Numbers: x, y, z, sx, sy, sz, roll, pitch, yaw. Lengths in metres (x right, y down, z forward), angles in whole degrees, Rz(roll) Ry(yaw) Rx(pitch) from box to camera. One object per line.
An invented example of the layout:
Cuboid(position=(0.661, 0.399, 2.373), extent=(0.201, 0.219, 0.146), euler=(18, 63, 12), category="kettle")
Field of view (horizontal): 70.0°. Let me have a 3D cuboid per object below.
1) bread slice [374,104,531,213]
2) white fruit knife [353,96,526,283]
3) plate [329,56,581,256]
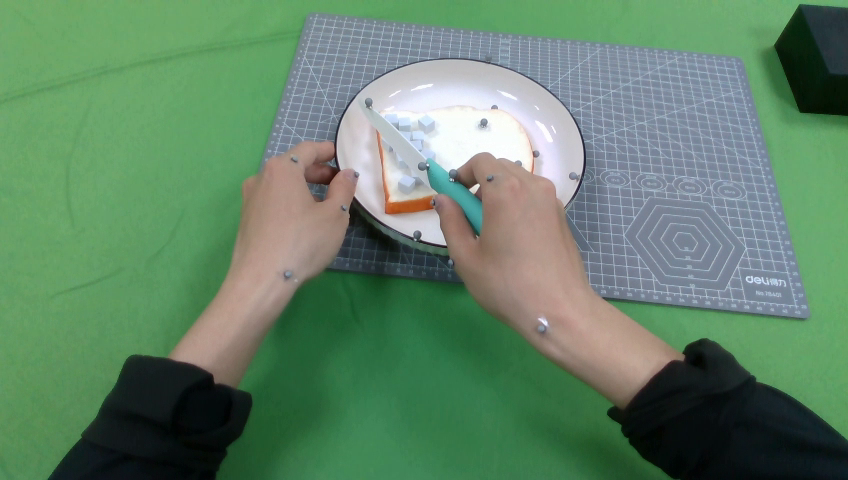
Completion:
Cuboid(position=(0.024, -0.075, 0.516), extent=(0.132, 0.019, 0.104), euler=(-7, 59, -6), category="bread slice")
Cuboid(position=(0.003, -0.047, 0.439), extent=(0.016, 0.027, 0.205), euler=(-25, 56, -30), category="white fruit knife")
Cuboid(position=(0.025, -0.071, 0.511), extent=(0.209, 0.038, 0.207), euler=(2, 58, -3), category="plate")
